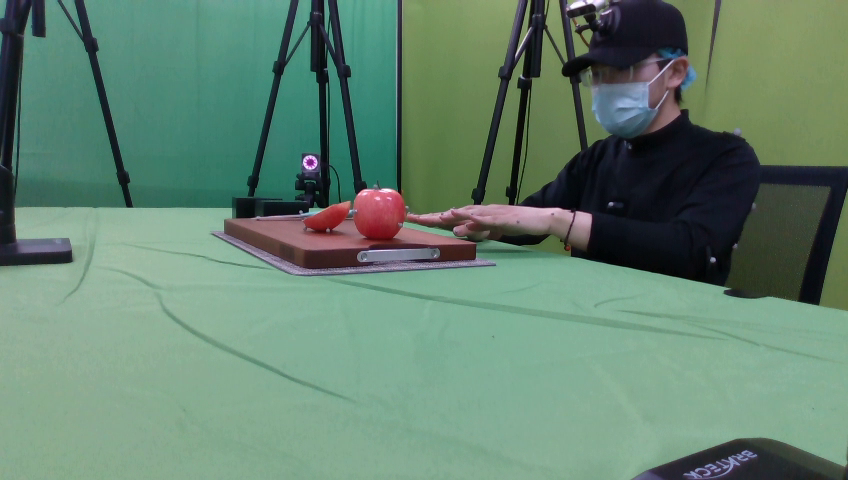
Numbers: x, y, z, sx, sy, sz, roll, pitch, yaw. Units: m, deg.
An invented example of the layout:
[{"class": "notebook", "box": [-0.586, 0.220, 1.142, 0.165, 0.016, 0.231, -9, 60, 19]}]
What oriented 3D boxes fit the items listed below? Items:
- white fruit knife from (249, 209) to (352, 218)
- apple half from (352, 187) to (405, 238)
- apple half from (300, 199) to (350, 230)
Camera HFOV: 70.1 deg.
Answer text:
[{"class": "white fruit knife", "box": [-0.220, -0.047, 1.116, 0.208, 0.016, 0.027, -4, -5, -35]}, {"class": "apple half", "box": [-0.059, -0.038, 0.877, 0.053, 0.074, 0.081, 14, 9, 39]}, {"class": "apple half", "box": [-0.147, -0.035, 0.941, 0.081, 0.033, 0.081, -22, 0, 1]}]
